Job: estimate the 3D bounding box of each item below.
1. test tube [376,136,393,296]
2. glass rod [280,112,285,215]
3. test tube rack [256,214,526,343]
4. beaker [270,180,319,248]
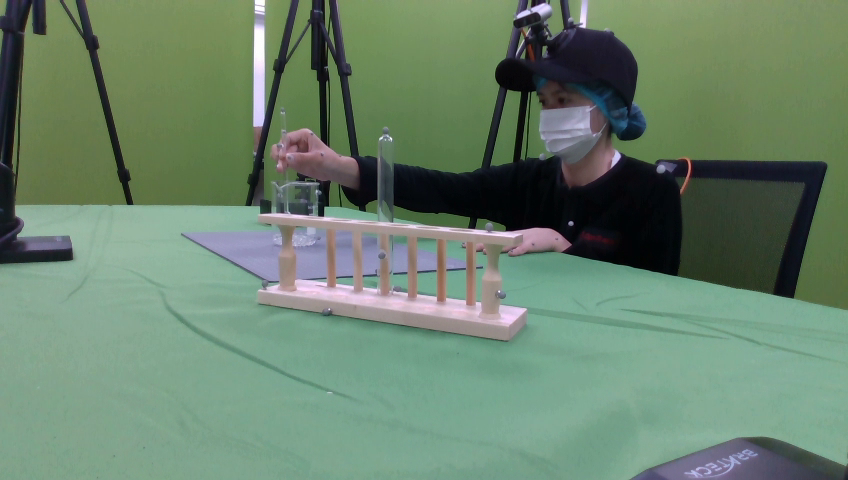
[{"bbox_3d":[-0.037,-0.021,0.565,0.017,0.150,0.017,1,6,0],"label":"test tube"},{"bbox_3d":[-0.214,-0.092,0.915,0.008,0.199,0.008,1,8,0],"label":"glass rod"},{"bbox_3d":[-0.032,0.027,0.547,0.241,0.085,0.067,5,7,22],"label":"test tube rack"},{"bbox_3d":[-0.203,-0.040,0.935,0.074,0.100,0.084,5,8,18],"label":"beaker"}]
